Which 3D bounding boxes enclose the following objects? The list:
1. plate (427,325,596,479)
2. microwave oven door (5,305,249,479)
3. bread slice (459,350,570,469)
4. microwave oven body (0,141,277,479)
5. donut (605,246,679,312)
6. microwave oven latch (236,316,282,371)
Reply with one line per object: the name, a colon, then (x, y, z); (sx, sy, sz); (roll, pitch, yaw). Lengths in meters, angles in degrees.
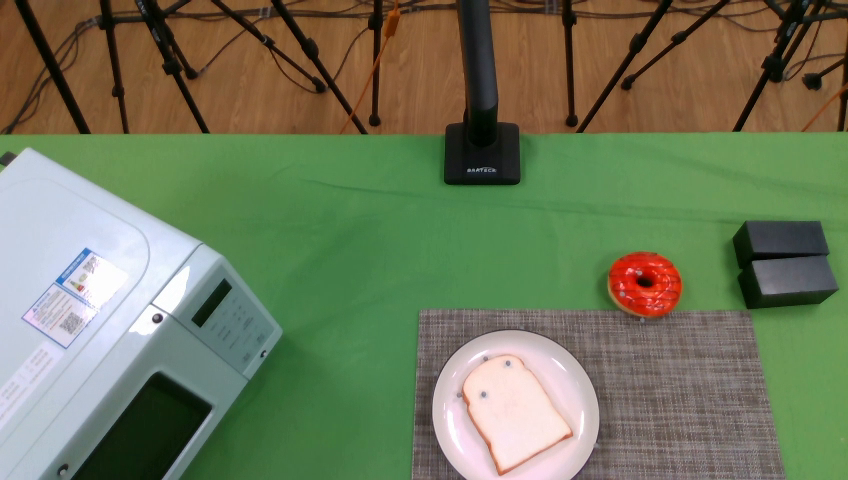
plate: (0.108, 0.211, 0.762); (0.207, 0.039, 0.206); (-1, 63, 3)
microwave oven door: (-0.342, 0.256, 0.638); (0.039, 0.246, 0.354); (26, 67, 17)
bread slice: (0.105, 0.206, 0.766); (0.105, 0.019, 0.130); (-27, 64, -11)
microwave oven body: (-0.446, 0.165, 0.698); (0.324, 0.262, 0.440); (26, 68, 16)
donut: (0.298, 0.054, 0.830); (0.099, 0.049, 0.098); (-3, 59, 6)
microwave oven latch: (-0.223, 0.134, 0.809); (0.030, 0.030, 0.079); (28, 68, 16)
